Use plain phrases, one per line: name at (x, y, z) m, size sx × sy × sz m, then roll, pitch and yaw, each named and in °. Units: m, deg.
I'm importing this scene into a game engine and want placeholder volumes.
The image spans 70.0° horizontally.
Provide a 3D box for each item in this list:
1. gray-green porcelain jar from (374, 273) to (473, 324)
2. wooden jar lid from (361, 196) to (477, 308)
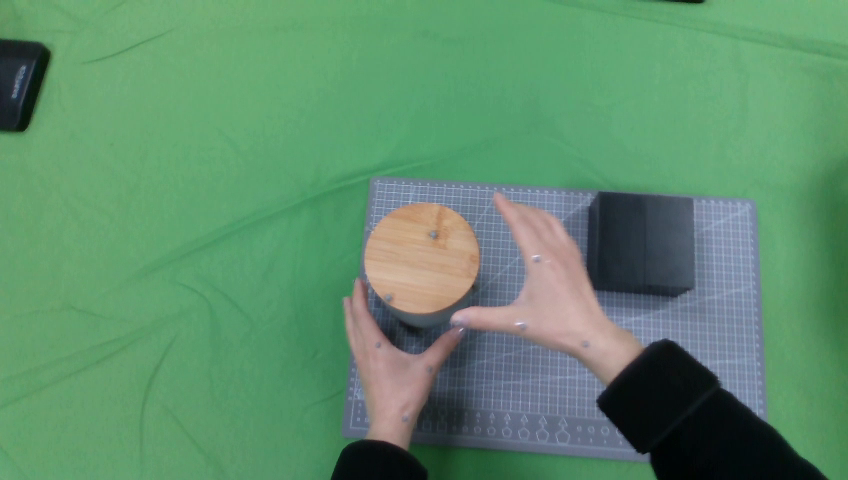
gray-green porcelain jar at (-0.002, 0.030, 0.629) m, size 0.106 × 0.127 × 0.105 m, roll 0°, pitch 75°, yaw 1°
wooden jar lid at (-0.004, 0.012, 0.569) m, size 0.108 × 0.021 × 0.108 m, roll -1°, pitch 74°, yaw 4°
